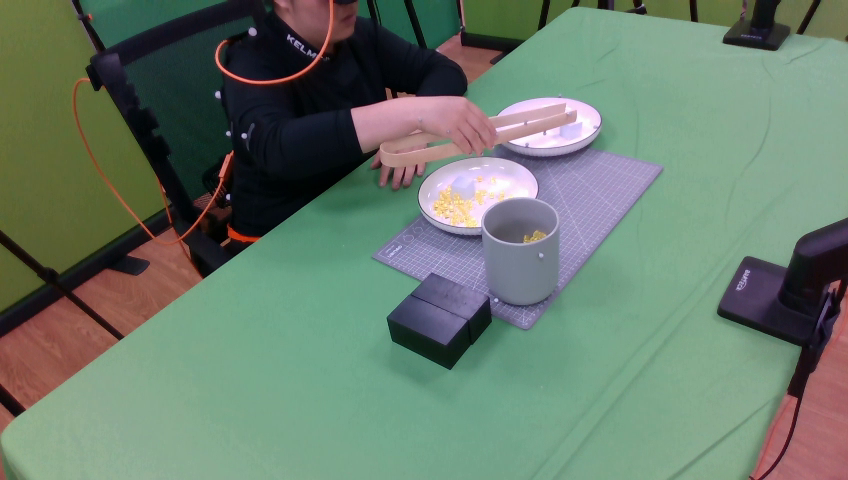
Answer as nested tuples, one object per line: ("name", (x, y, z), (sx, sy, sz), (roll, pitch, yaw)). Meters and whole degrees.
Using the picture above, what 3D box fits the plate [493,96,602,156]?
("plate", (0.238, -0.218, 1.179), (0.209, 0.038, 0.208), (-4, 39, 4))

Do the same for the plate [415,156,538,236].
("plate", (0.090, -0.072, 1.034), (0.207, 0.039, 0.206), (-5, 40, 5))

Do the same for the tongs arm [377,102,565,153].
("tongs arm", (0.093, -0.199, 1.078), (0.389, 0.028, 0.028), (-16, 45, -21))

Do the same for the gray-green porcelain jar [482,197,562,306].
("gray-green porcelain jar", (0.138, 0.020, 0.846), (0.106, 0.127, 0.105), (-5, 40, 5))

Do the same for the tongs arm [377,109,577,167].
("tongs arm", (0.103, -0.185, 1.060), (0.387, 0.026, 0.050), (-19, 42, -23))
